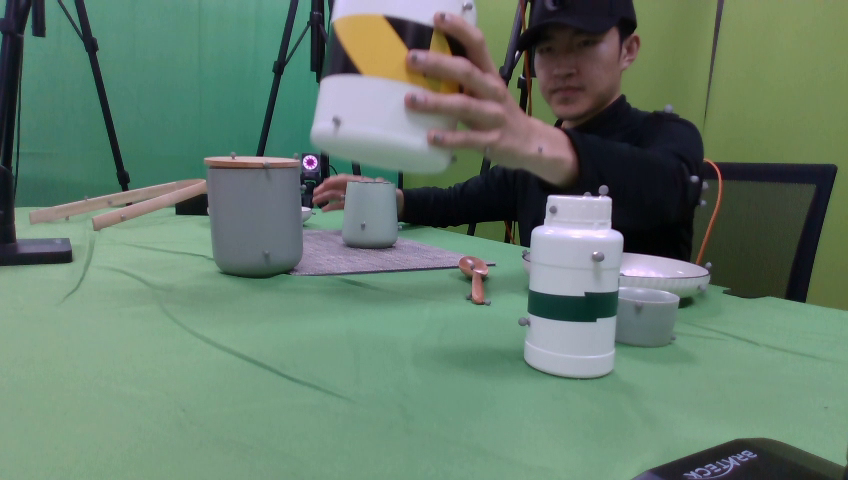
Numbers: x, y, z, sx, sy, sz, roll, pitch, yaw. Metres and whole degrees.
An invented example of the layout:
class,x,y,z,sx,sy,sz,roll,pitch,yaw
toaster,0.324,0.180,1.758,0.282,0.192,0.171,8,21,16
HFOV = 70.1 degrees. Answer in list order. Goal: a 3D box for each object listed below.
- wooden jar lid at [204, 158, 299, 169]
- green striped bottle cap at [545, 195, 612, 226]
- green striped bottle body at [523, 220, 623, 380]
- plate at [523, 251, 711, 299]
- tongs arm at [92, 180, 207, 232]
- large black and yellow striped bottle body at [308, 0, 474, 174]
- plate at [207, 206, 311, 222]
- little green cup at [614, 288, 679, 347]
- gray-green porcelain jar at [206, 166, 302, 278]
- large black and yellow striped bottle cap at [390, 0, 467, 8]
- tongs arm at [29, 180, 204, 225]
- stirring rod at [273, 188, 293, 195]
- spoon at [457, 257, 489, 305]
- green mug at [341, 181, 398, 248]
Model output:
class,x,y,z,sx,sy,sz,roll,pitch,yaw
wooden jar lid,-0.202,-0.086,0.714,0.108,0.020,0.108,2,10,0
green striped bottle cap,0.106,-0.020,0.414,0.044,0.020,0.044,2,4,0
green striped bottle body,0.104,0.031,0.422,0.063,0.119,0.063,2,7,0
plate,0.219,0.041,0.706,0.209,0.038,0.209,2,7,0
tongs arm,-0.534,-0.076,1.221,0.028,0.028,0.388,-2,15,12
large black and yellow striped bottle body,-0.027,-0.160,0.546,0.131,0.184,0.131,10,0,0
plate,-0.342,-0.050,1.259,0.208,0.039,0.207,3,7,0
little green cup,0.180,0.064,0.506,0.061,0.038,0.061,1,7,0
gray-green porcelain jar,-0.201,-0.024,0.724,0.106,0.126,0.106,-1,9,1
large black and yellow striped bottle cap,-0.011,-0.241,0.546,0.115,0.019,0.115,8,0,0
tongs arm,-0.609,-0.083,1.245,0.050,0.026,0.386,5,16,23
stirring rod,-0.353,-0.122,1.518,0.006,0.014,0.176,1,7,2
spoon,0.059,0.044,0.696,0.041,0.021,0.194,19,7,0
green mug,-0.090,-0.044,0.996,0.093,0.105,0.125,1,7,-10
